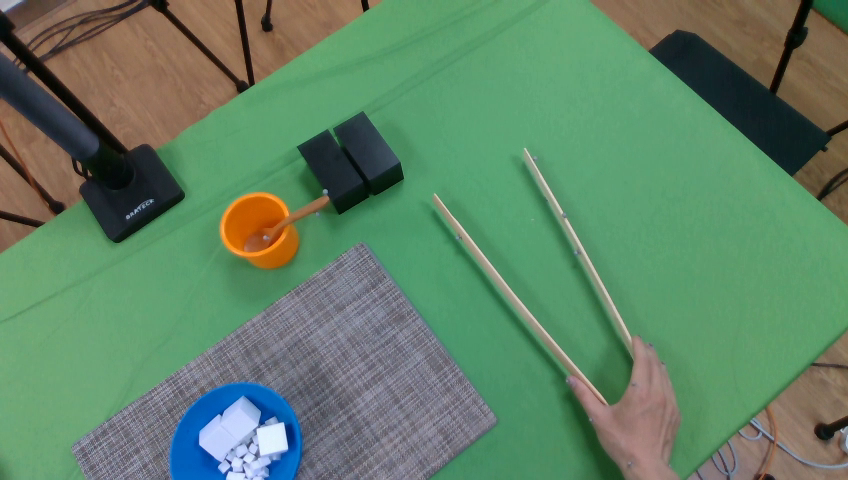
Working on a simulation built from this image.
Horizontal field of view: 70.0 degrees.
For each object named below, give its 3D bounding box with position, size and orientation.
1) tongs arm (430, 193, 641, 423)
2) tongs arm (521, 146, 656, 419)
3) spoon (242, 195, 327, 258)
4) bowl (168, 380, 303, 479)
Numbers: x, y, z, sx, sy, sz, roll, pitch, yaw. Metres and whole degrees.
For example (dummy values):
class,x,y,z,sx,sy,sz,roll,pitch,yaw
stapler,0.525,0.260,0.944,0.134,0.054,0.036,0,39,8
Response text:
class,x,y,z,sx,sy,sz,roll,pitch,yaw
tongs arm,0.127,0.079,0.773,0.028,0.028,0.385,-34,71,-16
tongs arm,0.197,0.043,0.784,0.051,0.027,0.381,-23,70,-8
spoon,-0.182,-0.018,0.776,0.022,0.193,0.041,17,61,-36
bowl,-0.209,0.246,0.713,0.151,0.077,0.150,-1,69,3
